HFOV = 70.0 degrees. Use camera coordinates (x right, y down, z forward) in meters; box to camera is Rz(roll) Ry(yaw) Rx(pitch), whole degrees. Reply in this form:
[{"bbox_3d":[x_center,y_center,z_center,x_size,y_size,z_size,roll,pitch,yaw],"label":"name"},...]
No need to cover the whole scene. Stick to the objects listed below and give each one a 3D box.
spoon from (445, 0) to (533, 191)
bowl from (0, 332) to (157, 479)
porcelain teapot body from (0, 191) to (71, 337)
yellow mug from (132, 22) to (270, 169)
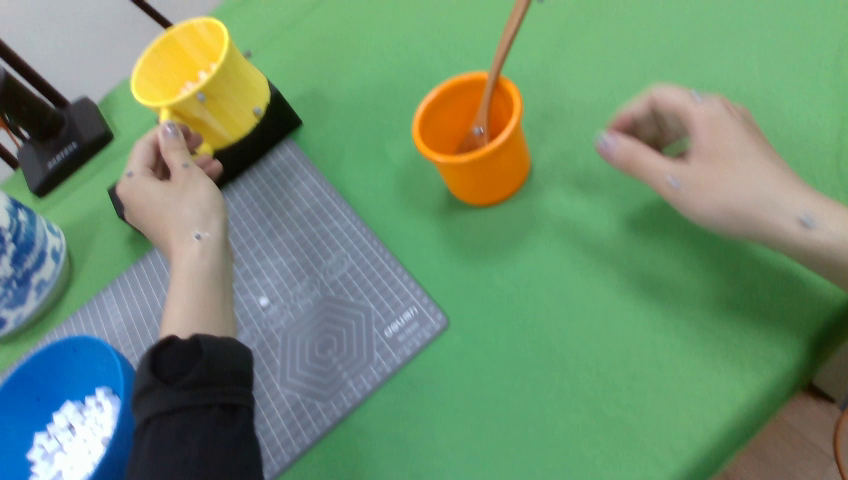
[{"bbox_3d":[0.057,-0.127,0.484,0.022,0.195,0.041,-8,39,-37],"label":"spoon"},{"bbox_3d":[-0.275,0.158,0.490,0.151,0.077,0.150,-11,56,17],"label":"bowl"},{"bbox_3d":[-0.504,0.015,0.588,0.205,0.228,0.143,-36,53,0],"label":"porcelain teapot body"},{"bbox_3d":[-0.202,-0.123,0.542,0.099,0.064,0.130,-6,61,18],"label":"yellow mug"}]
